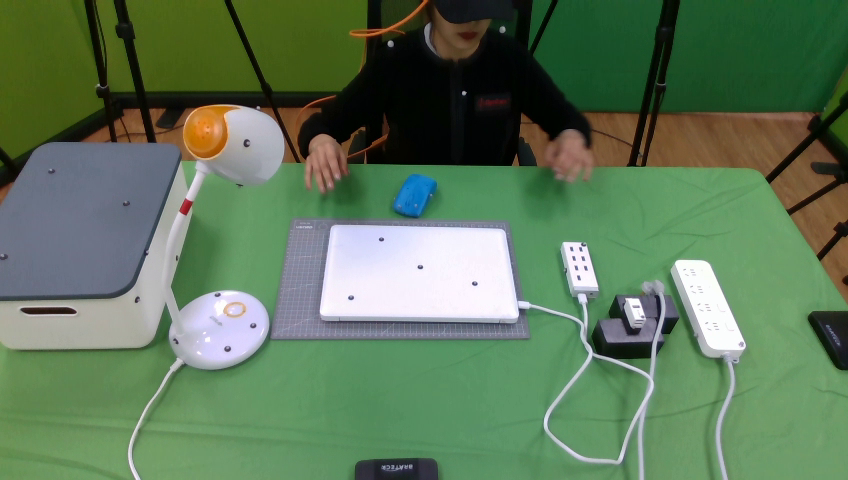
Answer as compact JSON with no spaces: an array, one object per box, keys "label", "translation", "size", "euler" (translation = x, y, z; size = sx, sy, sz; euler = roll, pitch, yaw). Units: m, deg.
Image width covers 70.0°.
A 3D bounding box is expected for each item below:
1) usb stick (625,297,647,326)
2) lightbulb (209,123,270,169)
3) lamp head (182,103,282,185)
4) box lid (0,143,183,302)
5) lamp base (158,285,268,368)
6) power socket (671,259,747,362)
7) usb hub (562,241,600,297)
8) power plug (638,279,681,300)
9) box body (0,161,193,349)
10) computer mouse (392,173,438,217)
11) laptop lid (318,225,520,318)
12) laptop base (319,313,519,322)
[{"label":"usb stick","translation":[0.360,0.117,1.034],"size":[0.021,0.027,0.059],"euler":[-2,44,-2]},{"label":"lightbulb","translation":[-0.260,-0.135,0.847],"size":[0.059,0.108,0.059],"euler":[-4,79,20]},{"label":"lamp head","translation":[-0.271,-0.133,0.825],"size":[0.112,0.112,0.123],"euler":[20,8,15]},{"label":"box lid","translation":[-0.567,-0.045,0.999],"size":[0.263,0.015,0.369],"euler":[-1,46,-4]},{"label":"lamp base","translation":[-0.348,0.102,0.963],"size":[0.160,0.181,0.178],"euler":[23,51,18]},{"label":"power socket","translation":[0.517,0.119,1.108],"size":[0.072,0.033,0.225],"euler":[1,46,-2]},{"label":"usb hub","translation":[0.300,0.055,1.162],"size":[0.049,0.025,0.124],"euler":[2,46,-3]},{"label":"power plug","translation":[0.434,0.099,1.119],"size":[0.073,0.053,0.035],"euler":[34,38,-15]},{"label":"box body","translation":[-0.570,0.006,1.054],"size":[0.254,0.161,0.361],"euler":[-1,46,-4]},{"label":"computer mouse","translation":[-0.018,-0.098,1.282],"size":[0.062,0.041,0.117],"euler":[20,51,13]},{"label":"laptop lid","translation":[-0.009,0.052,1.130],"size":[0.357,0.013,0.240],"euler":[2,43,-2]},{"label":"laptop base","translation":[-0.009,0.062,1.137],"size":[0.354,0.023,0.234],"euler":[1,42,-3]}]
